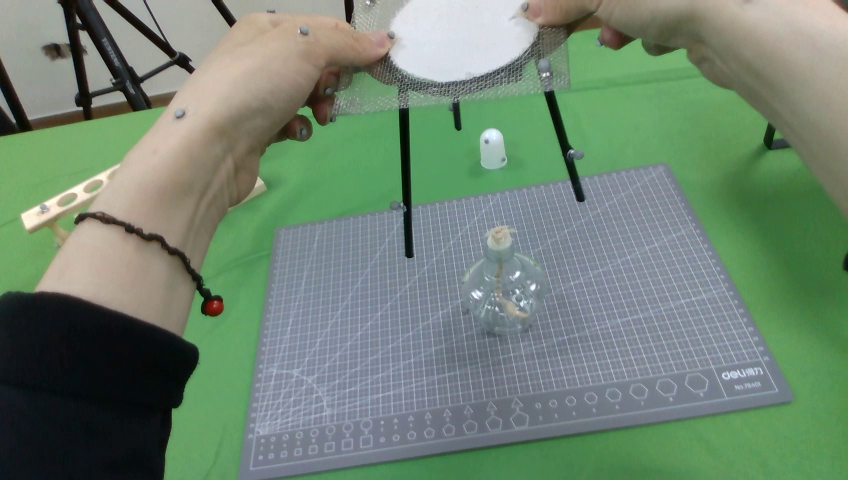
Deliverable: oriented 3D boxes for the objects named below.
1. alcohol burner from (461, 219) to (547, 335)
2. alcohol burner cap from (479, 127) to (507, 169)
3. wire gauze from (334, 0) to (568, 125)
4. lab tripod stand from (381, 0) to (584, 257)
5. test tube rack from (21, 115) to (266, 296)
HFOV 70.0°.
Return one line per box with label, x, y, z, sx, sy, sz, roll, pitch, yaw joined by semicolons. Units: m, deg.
alcohol burner;0.068;0.029;0.531;0.078;0.120;0.077;-7;44;7
alcohol burner cap;0.080;-0.111;0.714;0.034;0.048;0.033;-7;47;8
wire gauze;0.016;-0.116;0.337;0.121;0.011;0.124;-1;58;11
lab tripod stand;0.029;-0.072;0.387;0.148;0.133;0.147;-5;55;8
test tube rack;-0.318;-0.044;0.708;0.242;0.086;0.066;-34;50;-19
